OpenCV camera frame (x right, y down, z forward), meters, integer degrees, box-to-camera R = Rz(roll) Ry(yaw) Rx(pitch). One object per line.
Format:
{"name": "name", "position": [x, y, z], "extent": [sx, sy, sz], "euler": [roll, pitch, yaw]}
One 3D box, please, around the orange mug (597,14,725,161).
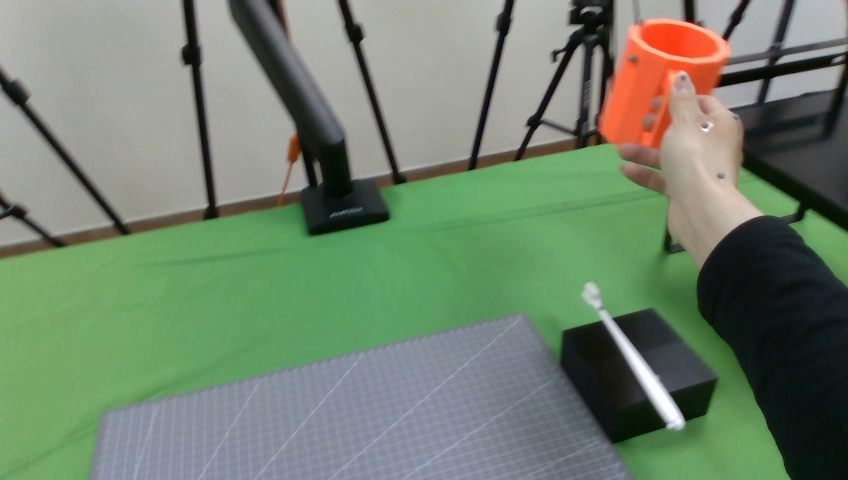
{"name": "orange mug", "position": [0.209, -0.132, 0.541], "extent": [0.083, 0.101, 0.125], "euler": [11, 40, 6]}

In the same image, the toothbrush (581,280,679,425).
{"name": "toothbrush", "position": [0.185, 0.096, 0.558], "extent": [0.014, 0.017, 0.180], "euler": [-6, 35, -9]}
